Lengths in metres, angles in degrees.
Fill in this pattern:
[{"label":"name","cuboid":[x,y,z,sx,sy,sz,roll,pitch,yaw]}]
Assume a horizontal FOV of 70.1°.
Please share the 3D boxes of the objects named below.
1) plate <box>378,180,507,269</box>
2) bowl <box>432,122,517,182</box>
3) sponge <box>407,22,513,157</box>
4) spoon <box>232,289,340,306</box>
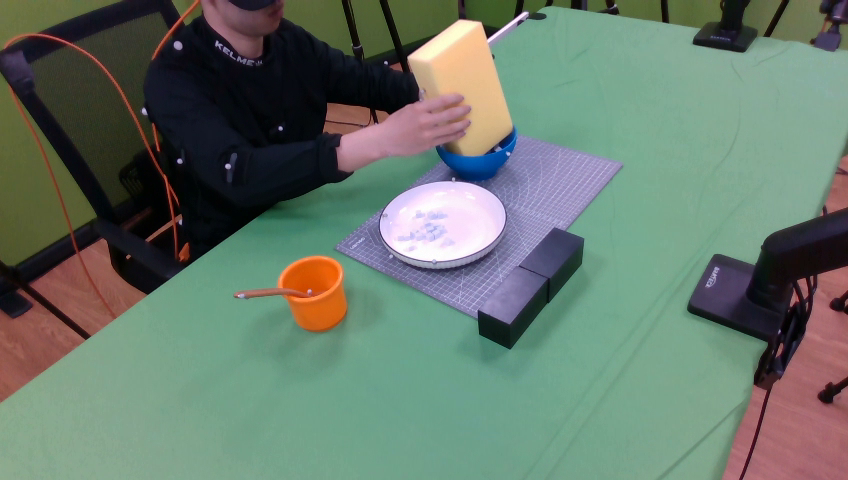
[{"label":"plate","cuboid":[0.031,-0.022,0.974,0.209,0.038,0.208,-4,40,4]},{"label":"bowl","cuboid":[0.094,-0.158,1.093,0.151,0.077,0.150,-5,41,5]},{"label":"sponge","cuboid":[0.067,-0.243,1.025,0.118,0.208,0.060,-40,40,-19]},{"label":"spoon","cuboid":[-0.181,0.074,0.811,0.041,0.195,0.021,16,90,31]}]
